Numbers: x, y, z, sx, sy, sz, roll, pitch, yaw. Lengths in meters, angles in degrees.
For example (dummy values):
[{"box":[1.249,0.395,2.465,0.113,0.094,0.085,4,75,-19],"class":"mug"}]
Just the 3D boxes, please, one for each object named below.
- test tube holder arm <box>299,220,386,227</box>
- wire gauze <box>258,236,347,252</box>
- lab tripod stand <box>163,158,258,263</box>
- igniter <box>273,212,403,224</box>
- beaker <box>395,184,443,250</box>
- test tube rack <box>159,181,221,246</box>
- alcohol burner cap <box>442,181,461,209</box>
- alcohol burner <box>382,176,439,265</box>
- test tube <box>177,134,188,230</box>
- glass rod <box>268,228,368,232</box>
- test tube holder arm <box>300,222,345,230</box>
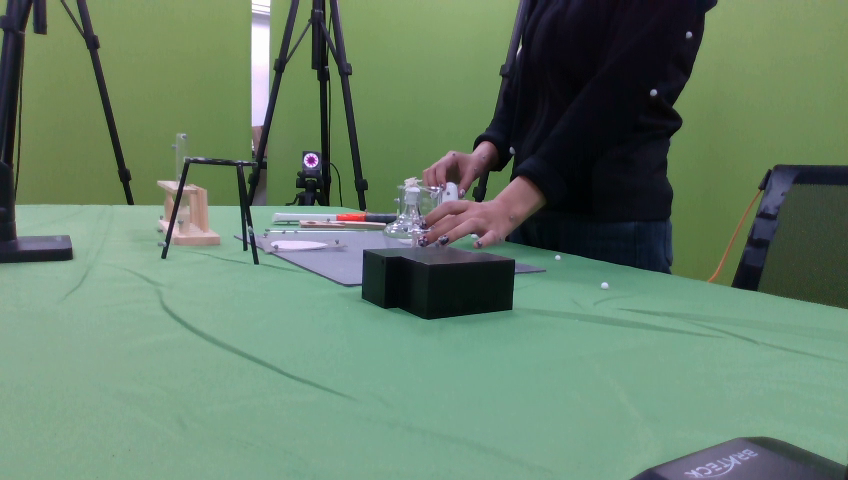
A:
[{"box":[-0.158,-0.032,1.196,0.179,0.015,0.013,-2,43,-29],"class":"test tube holder arm"},{"box":[-0.189,0.005,0.931,0.122,0.011,0.124,1,7,-21],"class":"wire gauze"},{"box":[-0.265,-0.041,0.802,0.148,0.131,0.148,4,7,0],"class":"lab tripod stand"},{"box":[-0.179,-0.048,1.290,0.278,0.025,0.057,-1,-2,-24],"class":"igniter"},{"box":[-0.007,-0.038,0.965,0.074,0.100,0.083,-4,11,-40],"class":"beaker"},{"box":[-0.395,-0.050,1.010,0.067,0.085,0.241,-2,9,-28],"class":"test tube rack"},{"box":[0.044,-0.077,1.031,0.034,0.048,0.034,-6,-7,0],"class":"alcohol burner cap"},{"box":[-0.017,-0.026,0.817,0.078,0.119,0.078,3,9,0],"class":"alcohol burner"},{"box":[-0.374,-0.089,0.938,0.017,0.150,0.017,2,4,0],"class":"test tube"},{"box":[-0.193,-0.018,1.128,0.201,0.008,0.008,0,7,-35],"class":"glass rod"},{"box":[-0.196,-0.027,1.170,0.088,0.015,0.010,-1,43,-29],"class":"test tube holder arm"}]
